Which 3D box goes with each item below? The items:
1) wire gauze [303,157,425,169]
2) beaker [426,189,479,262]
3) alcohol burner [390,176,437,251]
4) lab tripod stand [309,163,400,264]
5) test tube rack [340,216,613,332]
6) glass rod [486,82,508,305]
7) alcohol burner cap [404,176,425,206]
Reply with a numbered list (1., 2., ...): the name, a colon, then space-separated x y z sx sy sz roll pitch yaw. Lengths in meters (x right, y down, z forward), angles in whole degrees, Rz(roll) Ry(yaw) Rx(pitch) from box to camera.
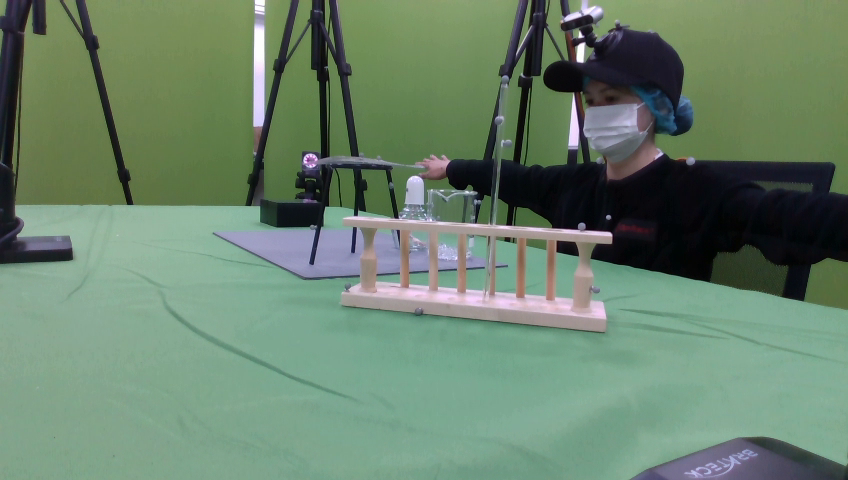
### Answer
1. wire gauze: -0.082 -0.102 0.799 0.126 0.011 0.121 -1 7 -30
2. beaker: 0.039 -0.022 0.871 0.074 0.100 0.084 4 8 12
3. alcohol burner: -0.016 -0.042 0.955 0.078 0.119 0.078 4 6 0
4. lab tripod stand: -0.091 -0.037 0.813 0.148 0.131 0.148 1 6 0
5. test tube rack: 0.048 0.026 0.568 0.242 0.085 0.067 4 8 13
6. glass rod: 0.064 -0.035 0.528 0.008 0.199 0.008 2 13 0
7. alcohol burner cap: -0.015 -0.077 0.951 0.034 0.048 0.034 3 4 0
